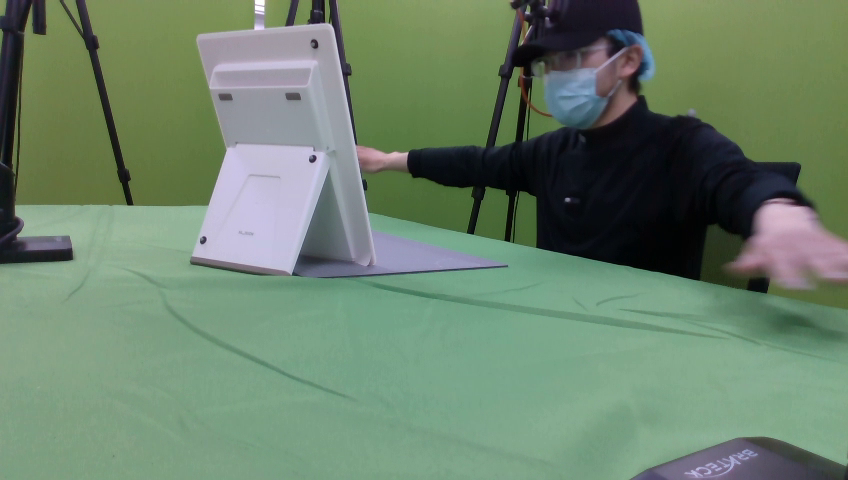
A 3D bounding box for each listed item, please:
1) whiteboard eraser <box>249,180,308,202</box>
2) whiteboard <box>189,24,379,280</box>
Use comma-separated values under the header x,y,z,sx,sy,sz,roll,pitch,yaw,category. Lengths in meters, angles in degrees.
x,y,z,sx,sy,sz,roll,pitch,yaw,category
-0.303,-0.103,1.263,0.113,0.042,0.055,-8,18,-37,whiteboard eraser
-0.207,-0.085,0.729,0.216,0.305,0.144,7,30,30,whiteboard
